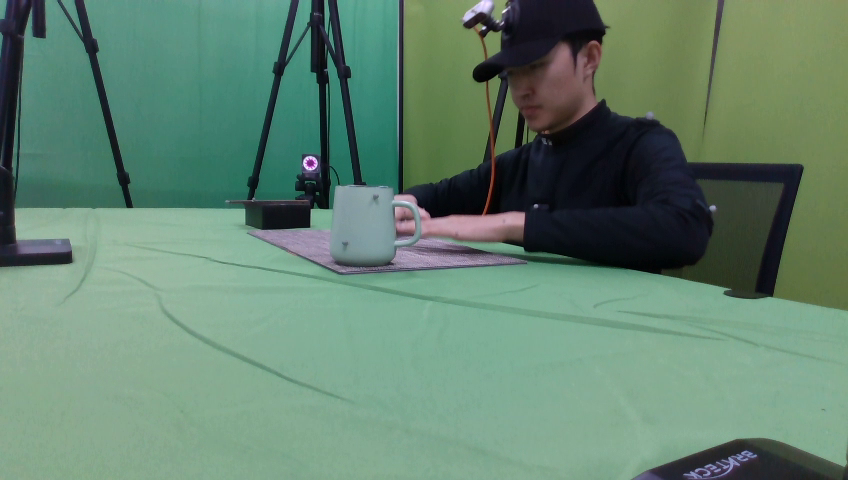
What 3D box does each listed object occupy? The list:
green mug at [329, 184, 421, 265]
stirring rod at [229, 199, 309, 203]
[{"bbox_3d":[-0.066,-0.022,0.817,0.125,0.105,0.092,3,7,8],"label":"green mug"},{"bbox_3d":[-0.317,-0.080,1.246,0.177,0.006,0.014,-4,7,-42],"label":"stirring rod"}]
